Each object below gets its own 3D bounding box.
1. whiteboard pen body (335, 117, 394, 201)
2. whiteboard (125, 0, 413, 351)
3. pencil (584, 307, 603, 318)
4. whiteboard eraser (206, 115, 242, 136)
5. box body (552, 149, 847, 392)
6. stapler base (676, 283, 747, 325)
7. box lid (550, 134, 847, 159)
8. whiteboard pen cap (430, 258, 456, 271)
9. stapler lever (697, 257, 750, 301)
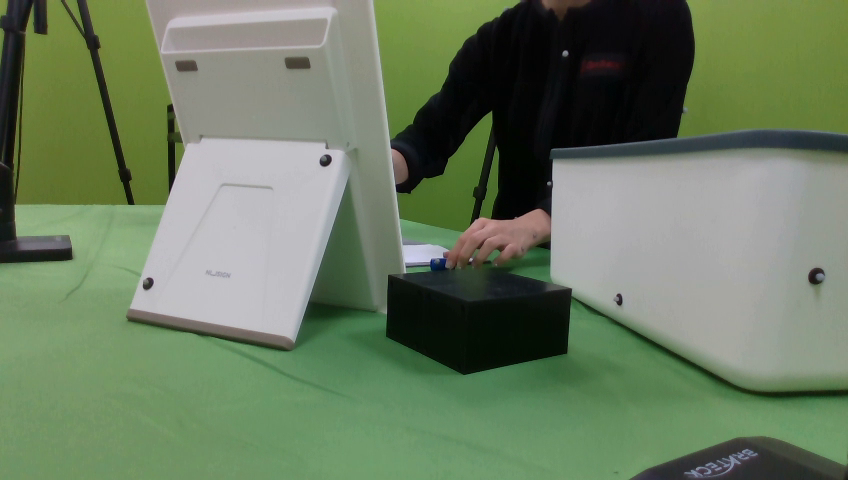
[{"bbox_3d":[-0.074,-0.102,0.761,0.017,0.017,0.140,-7,56,-50],"label":"whiteboard pen body"},{"bbox_3d":[-0.151,-0.050,0.471,0.216,0.305,0.144,6,27,24],"label":"whiteboard"},{"bbox_3d":[0.250,0.054,0.656,0.195,0.012,0.012,-14,14,-25],"label":"pencil"},{"bbox_3d":[-0.438,-0.249,1.320,0.056,0.042,0.112,-3,9,-30],"label":"whiteboard eraser"},{"bbox_3d":[0.290,0.002,0.549,0.255,0.160,0.363,2,7,-10],"label":"box body"},{"bbox_3d":[0.283,0.057,0.585,0.041,0.024,0.131,29,18,34],"label":"stapler base"},{"bbox_3d":[0.294,-0.071,0.538,0.264,0.015,0.370,2,6,-10],"label":"box lid"},{"bbox_3d":[0.024,0.032,0.790,0.033,0.018,0.018,3,7,-11],"label":"whiteboard pen cap"},{"bbox_3d":[0.290,0.035,0.580,0.026,0.040,0.119,29,19,34],"label":"stapler lever"}]
